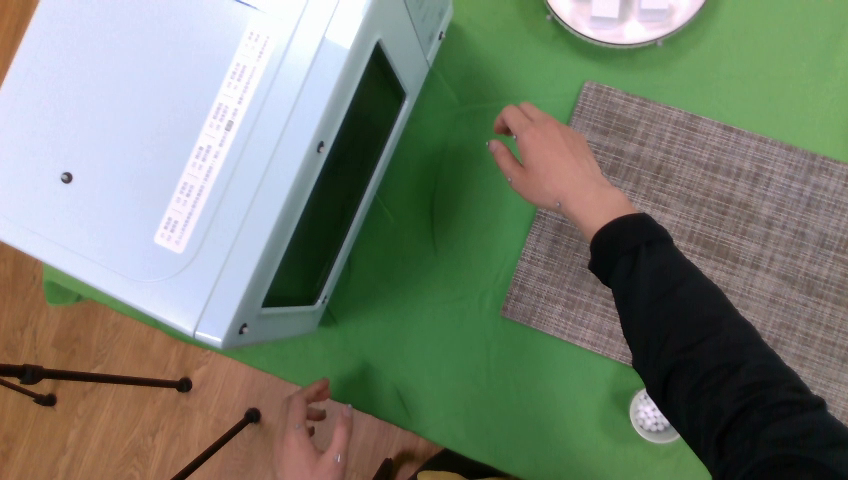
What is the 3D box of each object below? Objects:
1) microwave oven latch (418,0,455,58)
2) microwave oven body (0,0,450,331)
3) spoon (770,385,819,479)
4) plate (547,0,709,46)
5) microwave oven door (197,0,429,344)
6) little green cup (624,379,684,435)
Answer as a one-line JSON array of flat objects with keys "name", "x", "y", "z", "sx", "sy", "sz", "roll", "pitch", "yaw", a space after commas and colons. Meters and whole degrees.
[{"name": "microwave oven latch", "x": 0.009, "y": -0.262, "z": 0.725, "sx": 0.030, "sy": 0.029, "sz": 0.079, "roll": 28, "pitch": 91, "yaw": 8}, {"name": "microwave oven body", "x": -0.209, "y": -0.165, "z": 0.651, "sx": 0.325, "sy": 0.261, "sz": 0.441, "roll": 24, "pitch": 90, "yaw": 8}, {"name": "spoon", "x": 0.418, "y": 0.252, "z": 0.659, "sx": 0.042, "sy": 0.021, "sz": 0.193, "roll": -15, "pitch": 85, "yaw": -10}, {"name": "plate", "x": 0.240, "y": -0.327, "z": 0.718, "sx": 0.207, "sy": 0.039, "sz": 0.207, "roll": -1, "pitch": 86, "yaw": 8}, {"name": "microwave oven door", "x": -0.097, "y": -0.069, "z": 0.624, "sx": 0.039, "sy": 0.244, "sz": 0.355, "roll": 24, "pitch": 89, "yaw": 9}, {"name": "little green cup", "x": 0.255, "y": 0.185, "z": 0.681, "sx": 0.061, "sy": 0.039, "sz": 0.061, "roll": -1, "pitch": 84, "yaw": 7}]
